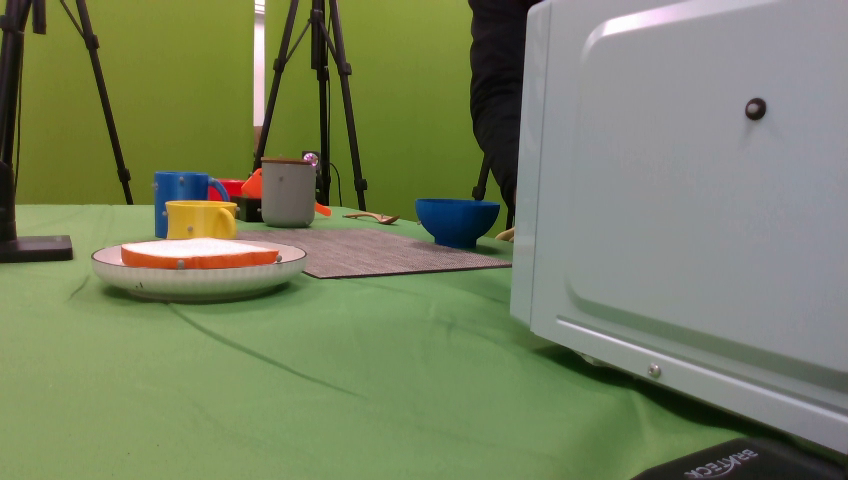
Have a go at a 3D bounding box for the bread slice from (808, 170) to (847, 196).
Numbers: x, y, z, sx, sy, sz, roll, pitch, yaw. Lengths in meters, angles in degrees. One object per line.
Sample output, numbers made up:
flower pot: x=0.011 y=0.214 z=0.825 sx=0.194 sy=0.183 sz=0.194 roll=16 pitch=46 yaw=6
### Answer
bread slice: x=0.366 y=-0.051 z=0.453 sx=0.135 sy=0.018 sz=0.106 roll=-9 pitch=1 yaw=-23

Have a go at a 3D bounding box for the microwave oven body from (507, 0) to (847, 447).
microwave oven body: x=0.331 y=-0.042 z=0.425 sx=0.444 sy=0.260 sz=0.324 roll=-2 pitch=8 yaw=-31

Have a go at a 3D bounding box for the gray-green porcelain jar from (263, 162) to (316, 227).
gray-green porcelain jar: x=-0.271 y=-0.092 z=1.217 sx=0.106 sy=0.126 sz=0.106 roll=2 pitch=7 yaw=0

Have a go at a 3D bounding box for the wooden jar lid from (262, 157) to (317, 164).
wooden jar lid: x=-0.269 y=-0.154 z=1.208 sx=0.108 sy=0.020 sz=0.108 roll=3 pitch=4 yaw=0

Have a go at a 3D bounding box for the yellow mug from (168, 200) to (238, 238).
yellow mug: x=-0.320 y=-0.023 z=0.904 sx=0.130 sy=0.064 sz=0.100 roll=9 pitch=10 yaw=36

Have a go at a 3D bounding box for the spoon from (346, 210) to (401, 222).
spoon: x=-0.120 y=-0.060 z=1.400 sx=0.042 sy=0.021 sz=0.192 roll=-27 pitch=24 yaw=-38

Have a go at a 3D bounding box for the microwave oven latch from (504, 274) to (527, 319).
microwave oven latch: x=0.100 y=0.041 z=0.470 sx=0.079 sy=0.029 sz=0.030 roll=-1 pitch=7 yaw=-27

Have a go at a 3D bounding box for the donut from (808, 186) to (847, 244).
donut: x=0.351 y=-0.023 z=0.463 sx=0.099 sy=0.048 sz=0.099 roll=-10 pitch=5 yaw=1

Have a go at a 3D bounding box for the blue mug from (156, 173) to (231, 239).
blue mug: x=-0.381 y=-0.057 z=1.004 sx=0.117 sy=0.106 sz=0.082 roll=1 pitch=8 yaw=-12

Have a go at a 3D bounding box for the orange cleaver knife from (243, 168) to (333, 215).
orange cleaver knife: x=-0.300 y=-0.089 z=1.352 sx=0.212 sy=0.077 sz=0.012 roll=28 pitch=-9 yaw=-34

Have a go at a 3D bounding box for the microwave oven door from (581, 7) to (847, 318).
microwave oven door: x=0.295 y=-0.067 z=0.570 sx=0.358 sy=0.243 sz=0.039 roll=-3 pitch=8 yaw=-31

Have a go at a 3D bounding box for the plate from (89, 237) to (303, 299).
plate: x=-0.233 y=0.029 z=0.636 sx=0.208 sy=0.039 sz=0.207 roll=2 pitch=7 yaw=0

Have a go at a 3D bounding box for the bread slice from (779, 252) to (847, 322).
bread slice: x=0.370 y=0.027 z=0.478 sx=0.132 sy=0.019 sz=0.104 roll=-25 pitch=10 yaw=-8

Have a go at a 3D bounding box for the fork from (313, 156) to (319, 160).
fork: x=-0.331 y=-0.144 z=1.506 sx=0.207 sy=0.018 sz=0.028 roll=-42 pitch=-17 yaw=22

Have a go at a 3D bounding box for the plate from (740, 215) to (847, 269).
plate: x=0.358 y=0.001 z=0.463 sx=0.209 sy=0.038 sz=0.209 roll=1 pitch=4 yaw=0

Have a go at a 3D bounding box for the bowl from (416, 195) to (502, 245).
bowl: x=0.059 y=-0.035 z=1.049 sx=0.151 sy=0.077 sz=0.151 roll=2 pitch=7 yaw=0
